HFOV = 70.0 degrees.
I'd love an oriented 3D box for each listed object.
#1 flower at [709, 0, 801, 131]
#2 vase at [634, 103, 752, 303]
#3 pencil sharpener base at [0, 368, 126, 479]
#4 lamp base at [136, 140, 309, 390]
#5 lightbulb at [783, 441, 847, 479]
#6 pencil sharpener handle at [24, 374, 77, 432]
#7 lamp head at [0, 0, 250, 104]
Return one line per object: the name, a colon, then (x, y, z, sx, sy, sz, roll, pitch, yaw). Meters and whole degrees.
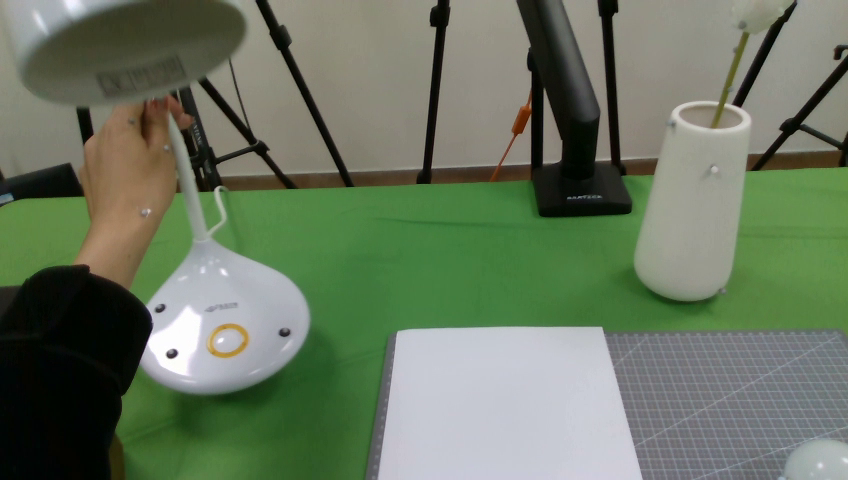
flower: (0.259, -0.088, 0.552, 0.038, 0.365, 0.043, -39, 60, -20)
vase: (0.273, -0.033, 0.617, 0.098, 0.202, 0.097, -4, 34, 3)
pencil sharpener base: (-0.286, 0.166, 0.480, 0.061, 0.108, 0.076, -18, 37, -17)
lamp base: (-0.197, 0.014, 0.548, 0.161, 0.182, 0.177, -18, 42, -23)
lightbulb: (0.288, 0.194, 0.419, 0.059, 0.060, 0.106, 2, 51, 10)
pencil sharpener handle: (-0.309, 0.131, 0.511, 0.036, 0.068, 0.030, -14, 36, -20)
lamp head: (-0.164, -0.145, 0.310, 0.112, 0.112, 0.122, -23, 82, -23)
